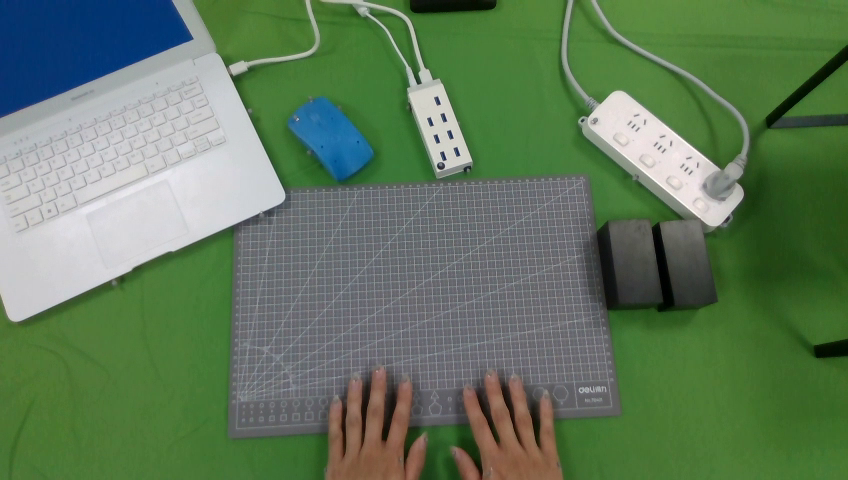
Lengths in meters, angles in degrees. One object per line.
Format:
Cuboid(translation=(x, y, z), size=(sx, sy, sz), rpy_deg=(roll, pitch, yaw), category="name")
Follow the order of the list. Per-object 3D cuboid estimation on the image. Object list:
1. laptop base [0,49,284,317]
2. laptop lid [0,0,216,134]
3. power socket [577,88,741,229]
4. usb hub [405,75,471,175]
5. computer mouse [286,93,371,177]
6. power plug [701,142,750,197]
Cuboid(translation=(-0.379, -0.080, 0.761), size=(0.354, 0.023, 0.234), rpy_deg=(-25, 79, -7), category="laptop base")
Cuboid(translation=(-0.445, -0.240, 0.684), size=(0.357, 0.244, 0.013), rpy_deg=(-26, 61, -6), category="laptop lid")
Cuboid(translation=(0.298, -0.104, 0.769), size=(0.226, 0.033, 0.072), rpy_deg=(43, 78, 10), category="power socket")
Cuboid(translation=(0.017, -0.149, 0.781), size=(0.049, 0.025, 0.124), rpy_deg=(-18, 76, -5), category="usb hub")
Cuboid(translation=(-0.123, -0.137, 0.769), size=(0.063, 0.041, 0.116), rpy_deg=(-39, 75, -9), category="computer mouse")
Cuboid(translation=(0.373, -0.080, 0.744), size=(0.072, 0.053, 0.035), rpy_deg=(-33, 77, -11), category="power plug")
